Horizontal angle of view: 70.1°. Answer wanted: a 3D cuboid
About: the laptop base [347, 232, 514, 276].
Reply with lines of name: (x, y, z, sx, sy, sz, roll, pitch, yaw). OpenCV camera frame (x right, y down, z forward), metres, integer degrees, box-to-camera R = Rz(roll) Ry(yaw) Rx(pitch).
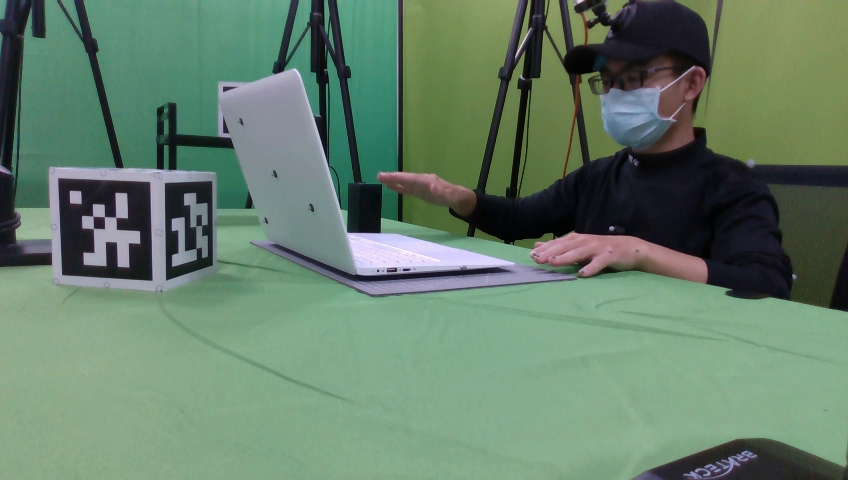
laptop base: (-0.066, 0.016, 0.893, 0.237, 0.023, 0.352, 2, 6, -32)

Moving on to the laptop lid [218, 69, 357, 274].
laptop lid: (-0.195, -0.090, 0.798, 0.013, 0.242, 0.355, -23, 20, -27)
